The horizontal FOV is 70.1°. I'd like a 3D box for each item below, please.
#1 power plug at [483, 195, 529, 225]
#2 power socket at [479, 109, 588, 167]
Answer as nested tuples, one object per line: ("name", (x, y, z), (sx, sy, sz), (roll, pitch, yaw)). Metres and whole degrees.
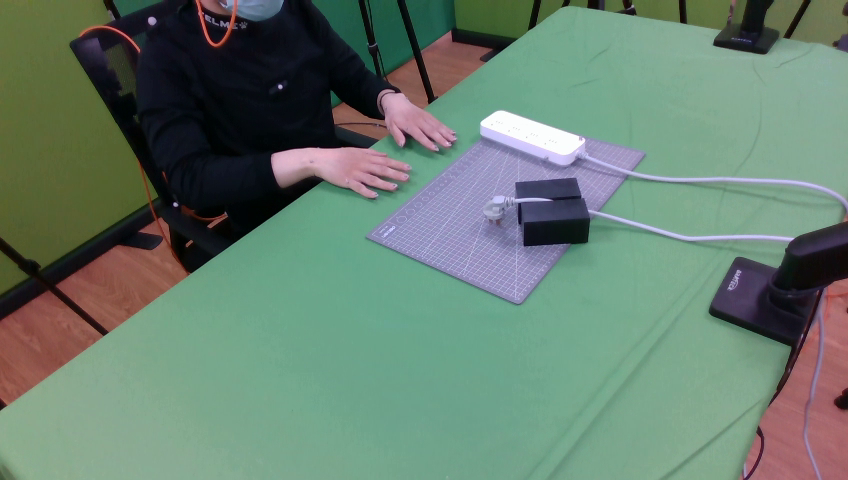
("power plug", (0.129, -0.044, 0.969), (0.072, 0.053, 0.035), (14, 49, 26))
("power socket", (0.203, -0.198, 1.157), (0.225, 0.033, 0.072), (29, 53, 34))
